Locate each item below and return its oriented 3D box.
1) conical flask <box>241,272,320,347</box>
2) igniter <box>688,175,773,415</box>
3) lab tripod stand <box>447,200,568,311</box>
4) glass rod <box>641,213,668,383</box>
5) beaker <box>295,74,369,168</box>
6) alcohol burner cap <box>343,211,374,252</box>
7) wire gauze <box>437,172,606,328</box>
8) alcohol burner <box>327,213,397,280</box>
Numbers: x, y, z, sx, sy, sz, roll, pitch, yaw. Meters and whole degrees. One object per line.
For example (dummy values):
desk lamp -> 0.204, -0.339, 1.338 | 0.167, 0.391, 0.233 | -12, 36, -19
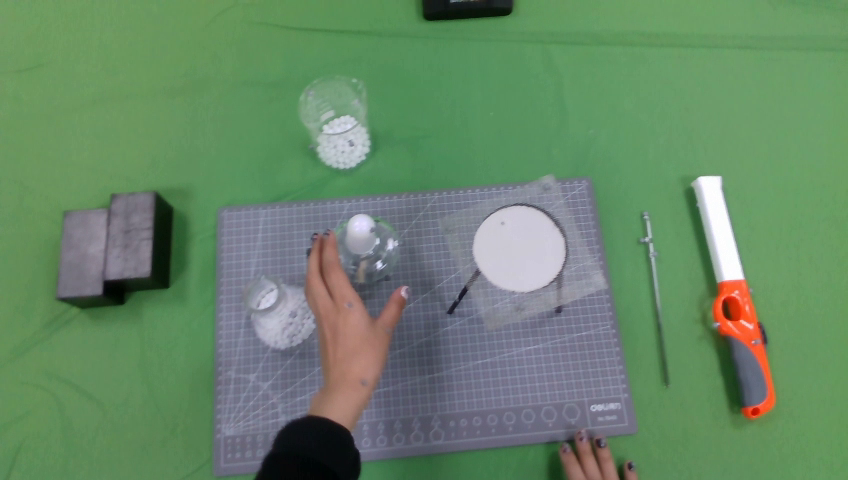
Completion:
conical flask -> -0.153, 0.066, 0.625 | 0.075, 0.122, 0.075 | 0, 73, 0
igniter -> 0.346, 0.055, 0.687 | 0.057, 0.025, 0.274 | -2, 73, -12
lab tripod stand -> 0.090, 0.026, 0.635 | 0.148, 0.132, 0.147 | 0, 74, 0
glass rod -> 0.263, 0.062, 0.694 | 0.008, 0.008, 0.198 | -1, 72, -1
beaker -> -0.100, -0.135, 0.704 | 0.073, 0.101, 0.084 | 42, 76, 12
alcohol burner cap -> -0.066, -0.012, 0.617 | 0.034, 0.048, 0.033 | 3, 65, -7
wire gauze -> 0.090, 0.008, 0.570 | 0.125, 0.011, 0.120 | -21, 74, -7
alcohol burner -> -0.067, 0.001, 0.651 | 0.078, 0.120, 0.077 | 1, 71, -2
